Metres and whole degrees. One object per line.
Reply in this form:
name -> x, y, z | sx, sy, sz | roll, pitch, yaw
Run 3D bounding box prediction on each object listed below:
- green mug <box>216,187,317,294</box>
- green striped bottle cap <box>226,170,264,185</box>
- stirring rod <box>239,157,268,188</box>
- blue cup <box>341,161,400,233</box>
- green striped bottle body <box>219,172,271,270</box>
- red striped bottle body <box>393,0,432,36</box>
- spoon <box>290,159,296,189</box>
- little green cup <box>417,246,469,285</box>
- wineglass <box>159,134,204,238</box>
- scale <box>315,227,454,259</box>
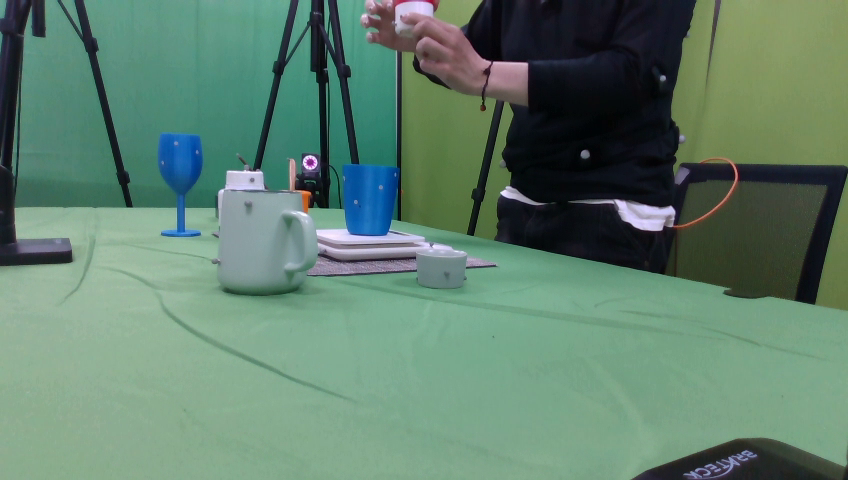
green mug -> -0.157, 0.000, 0.629 | 0.124, 0.105, 0.093 | 7, 9, 37
green striped bottle cap -> -0.222, -0.077, 0.748 | 0.044, 0.020, 0.044 | 1, 7, 0
stirring rod -> -0.309, -0.098, 1.209 | 0.006, 0.177, 0.014 | -39, 29, -5
blue cup -> -0.080, -0.062, 0.883 | 0.093, 0.100, 0.092 | 3, 4, 0
green striped bottle body -> -0.223, -0.025, 0.755 | 0.063, 0.119, 0.063 | 2, 7, 0
red striped bottle body -> -0.020, -0.394, 0.966 | 0.063, 0.119, 0.063 | -3, 4, 1
spoon -> -0.273, -0.102, 1.252 | 0.042, 0.193, 0.021 | 7, -38, -17
little green cup -> 0.021, 0.029, 0.701 | 0.061, 0.038, 0.061 | 1, 6, 0
wineglass -> -0.415, -0.093, 1.040 | 0.074, 0.172, 0.073 | 2, 7, 0
scale -> -0.066, 0.001, 0.906 | 0.202, 0.031, 0.148 | -2, 8, -31
